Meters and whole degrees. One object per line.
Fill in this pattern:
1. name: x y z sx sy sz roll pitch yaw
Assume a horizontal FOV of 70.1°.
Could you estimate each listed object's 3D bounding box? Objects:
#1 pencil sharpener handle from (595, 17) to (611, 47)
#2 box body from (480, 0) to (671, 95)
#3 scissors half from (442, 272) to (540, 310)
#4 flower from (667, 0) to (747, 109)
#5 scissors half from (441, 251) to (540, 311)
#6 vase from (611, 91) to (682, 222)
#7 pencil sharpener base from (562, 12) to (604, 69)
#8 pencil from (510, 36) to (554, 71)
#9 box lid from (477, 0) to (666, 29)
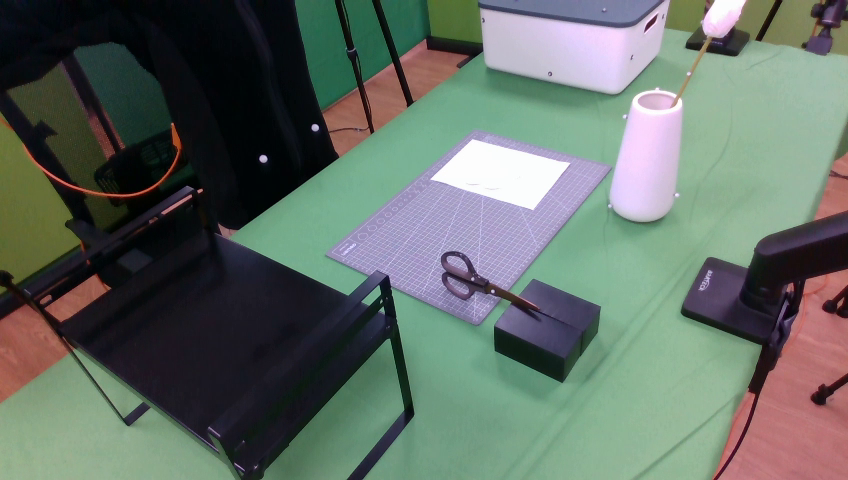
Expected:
1. pencil sharpener handle: 0.412 -0.478 1.382 0.031 0.068 0.035 -15 34 -9
2. box body: 0.339 -0.480 1.381 0.361 0.161 0.255 22 48 30
3. scissors half: 0.089 0.074 0.832 0.013 0.040 0.173 -24 23 -38
4. flower: 0.354 -0.187 0.879 0.038 0.362 0.044 31 48 14
5. scissors half: 0.087 0.056 0.824 0.013 0.040 0.173 -30 44 -35
6. vase: 0.348 -0.125 0.935 0.098 0.201 0.097 -3 40 3
7. pencil sharpener base: 0.364 -0.456 1.382 0.077 0.107 0.061 -15 41 -10
8. pencil: 0.263 -0.453 1.469 0.012 0.012 0.194 25 52 32
9. box lid: 0.332 -0.535 1.333 0.368 0.015 0.264 22 48 31
